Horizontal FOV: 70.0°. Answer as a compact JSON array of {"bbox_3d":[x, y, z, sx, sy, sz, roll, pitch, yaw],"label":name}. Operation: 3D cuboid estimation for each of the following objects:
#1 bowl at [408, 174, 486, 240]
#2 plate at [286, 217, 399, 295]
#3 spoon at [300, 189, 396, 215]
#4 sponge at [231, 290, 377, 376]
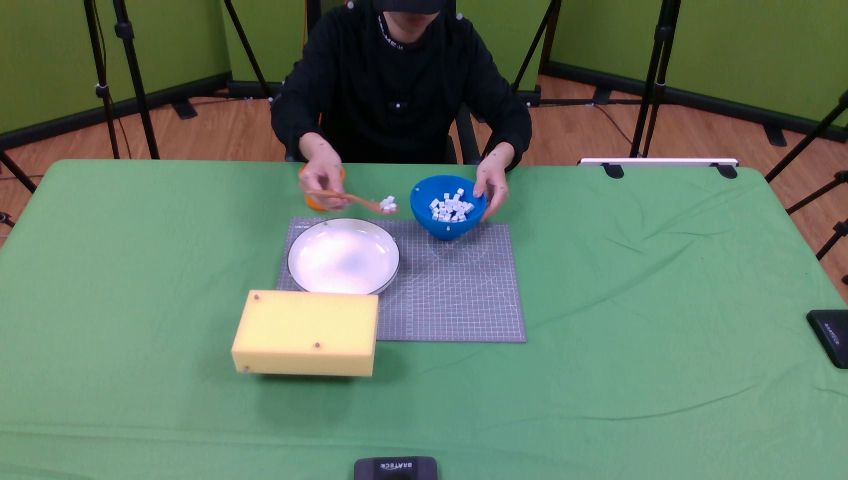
[{"bbox_3d":[0.042,-0.054,1.192,0.151,0.077,0.150,3,43,-2],"label":"bowl"},{"bbox_3d":[-0.150,0.041,1.131,0.209,0.038,0.208,2,46,-2],"label":"plate"},{"bbox_3d":[-0.131,-0.070,1.064,0.195,0.021,0.041,14,23,-40],"label":"spoon"},{"bbox_3d":[-0.180,0.144,0.949,0.207,0.061,0.117,2,46,-2],"label":"sponge"}]
